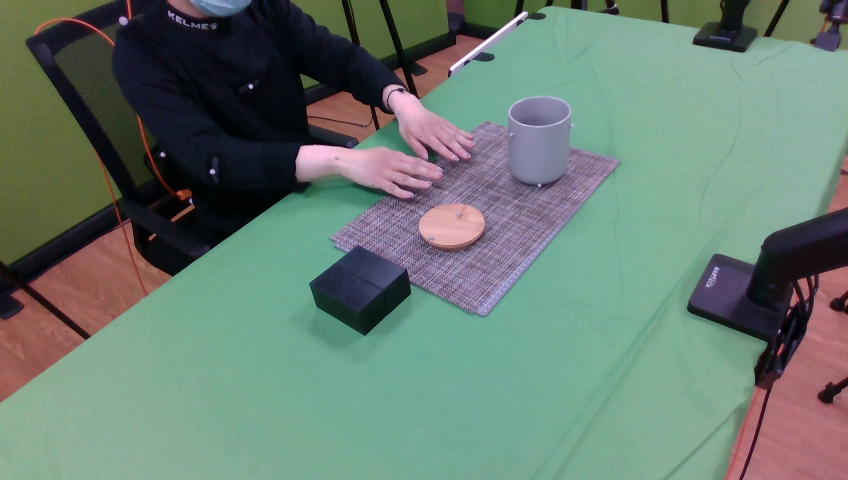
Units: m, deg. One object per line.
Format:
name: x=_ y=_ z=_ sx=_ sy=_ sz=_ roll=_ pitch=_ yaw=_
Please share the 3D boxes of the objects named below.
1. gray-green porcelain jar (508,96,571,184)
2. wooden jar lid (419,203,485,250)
gray-green porcelain jar: x=0.199 y=-0.169 z=1.051 sx=0.106 sy=0.127 sz=0.105 roll=-4 pitch=41 yaw=4
wooden jar lid: x=0.046 y=-0.021 z=0.983 sx=0.108 sy=0.021 sz=0.108 roll=-4 pitch=41 yaw=4
